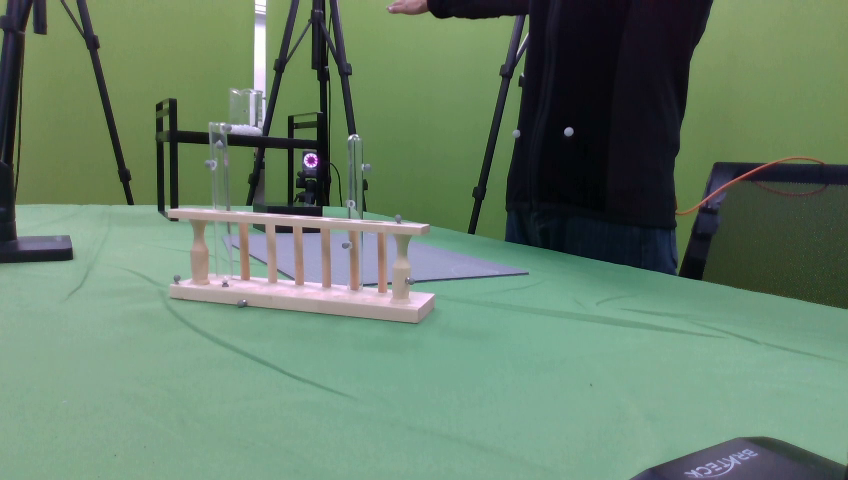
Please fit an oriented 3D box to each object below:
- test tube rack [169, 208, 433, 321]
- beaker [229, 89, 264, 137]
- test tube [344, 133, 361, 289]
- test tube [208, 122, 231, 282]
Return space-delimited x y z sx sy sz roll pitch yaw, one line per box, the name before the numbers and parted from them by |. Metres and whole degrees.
test tube rack | -0.115 0.018 0.574 0.242 0.085 0.067 4 8 14
beaker | -0.391 -0.277 1.329 0.074 0.100 0.084 2 8 -1
test tube | -0.068 -0.025 0.575 0.017 0.150 0.017 1 11 0
test tube | -0.191 -0.034 0.565 0.017 0.150 0.017 1 11 0
